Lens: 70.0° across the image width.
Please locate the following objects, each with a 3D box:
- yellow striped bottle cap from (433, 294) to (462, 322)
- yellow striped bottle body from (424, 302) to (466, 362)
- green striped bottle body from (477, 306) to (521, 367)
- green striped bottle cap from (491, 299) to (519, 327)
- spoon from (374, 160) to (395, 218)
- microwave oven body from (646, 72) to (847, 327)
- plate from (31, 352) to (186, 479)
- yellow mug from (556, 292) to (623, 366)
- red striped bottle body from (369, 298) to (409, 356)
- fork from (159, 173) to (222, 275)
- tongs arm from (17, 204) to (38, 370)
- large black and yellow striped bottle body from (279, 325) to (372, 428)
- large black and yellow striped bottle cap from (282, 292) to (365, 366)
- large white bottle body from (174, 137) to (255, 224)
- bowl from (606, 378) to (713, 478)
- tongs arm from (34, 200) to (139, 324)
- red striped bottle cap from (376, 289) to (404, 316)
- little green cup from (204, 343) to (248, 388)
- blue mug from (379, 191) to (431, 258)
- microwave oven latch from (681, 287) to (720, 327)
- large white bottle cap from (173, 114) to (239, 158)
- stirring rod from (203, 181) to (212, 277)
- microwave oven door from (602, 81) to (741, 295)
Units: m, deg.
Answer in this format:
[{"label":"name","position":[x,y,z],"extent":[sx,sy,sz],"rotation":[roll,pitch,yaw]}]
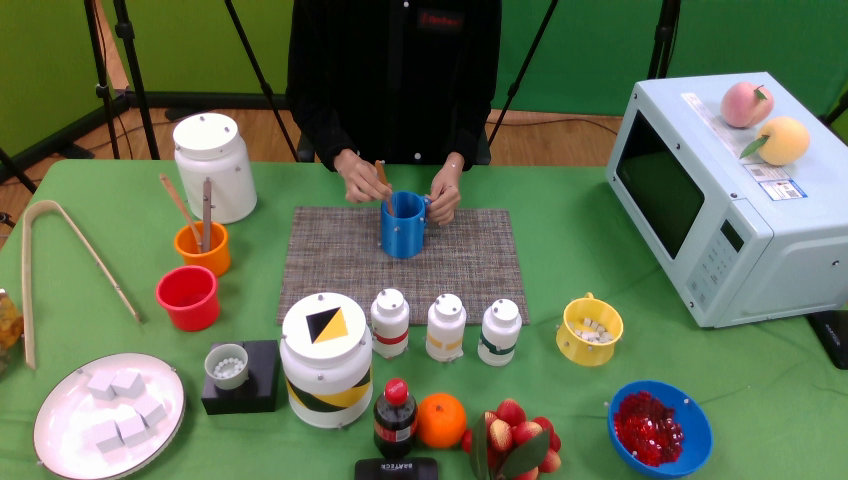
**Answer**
[{"label":"yellow striped bottle cap","position":[0.037,0.107,0.958],"extent":[0.044,0.019,0.044],"rotation":[2,45,-2]},{"label":"yellow striped bottle body","position":[0.035,0.143,0.995],"extent":[0.063,0.121,0.062],"rotation":[3,46,-3]},{"label":"green striped bottle body","position":[0.124,0.151,0.995],"extent":[0.063,0.120,0.063],"rotation":[2,46,-2]},{"label":"green striped bottle cap","position":[0.128,0.115,0.958],"extent":[0.044,0.020,0.044],"rotation":[1,46,-1]},{"label":"spoon","position":[-0.068,-0.069,1.108],"extent":[0.041,0.195,0.021],"rotation":[9,43,23]},{"label":"microwave oven body","position":[0.607,-0.089,1.164],"extent":[0.326,0.261,0.438],"rotation":[-7,46,-10]},{"label":"plate","position":[-0.459,0.262,0.898],"extent":[0.209,0.038,0.208],"rotation":[2,46,-2]},{"label":"yellow mug","position":[0.285,0.145,1.051],"extent":[0.100,0.064,0.130],"rotation":[7,45,3]},{"label":"red striped bottle body","position":[-0.058,0.134,0.997],"extent":[0.063,0.120,0.062],"rotation":[4,47,-4]},{"label":"fork","position":[-0.427,-0.029,1.103],"extent":[0.028,0.018,0.207],"rotation":[-31,99,-30]},{"label":"tongs arm","position":[-0.698,0.069,1.068],"extent":[0.028,0.028,0.385],"rotation":[-20,50,-13]},{"label":"large black and yellow striped bottle body","position":[-0.143,0.181,0.900],"extent":[0.131,0.185,0.130],"rotation":[2,46,-2]},{"label":"large black and yellow striped bottle cap","position":[-0.139,0.121,0.841],"extent":[0.115,0.019,0.114],"rotation":[3,47,-3]},{"label":"large white bottle body","position":[-0.408,-0.136,1.183],"extent":[0.131,0.185,0.130],"rotation":[2,46,-2]},{"label":"bowl","position":[0.340,0.292,0.906],"extent":[0.151,0.077,0.150],"rotation":[2,46,-2]},{"label":"tongs arm","position":[-0.622,0.034,1.105],"extent":[0.051,0.026,0.382],"rotation":[-32,56,-26]},{"label":"red striped bottle cap","position":[-0.055,0.098,0.958],"extent":[0.044,0.018,0.044],"rotation":[0,47,0]},{"label":"little green cup","position":[-0.294,0.190,0.909],"extent":[0.061,0.039,0.061],"rotation":[1,48,0]},{"label":"blue mug","position":[-0.032,-0.037,1.168],"extent":[0.116,0.106,0.082],"rotation":[-31,56,-30]},{"label":"microwave oven latch","position":[0.494,0.119,1.087],"extent":[0.030,0.029,0.078],"rotation":[-6,46,-9]},{"label":"large white bottle cap","position":[-0.403,-0.195,1.122],"extent":[0.115,0.018,0.114],"rotation":[2,47,-2]},{"label":"stirring rod","position":[-0.396,-0.021,1.107],"extent":[0.014,0.006,0.176],"rotation":[-1,89,-1]},{"label":"microwave oven door","position":[0.456,-0.107,1.162],"extent":[0.039,0.245,0.353],"rotation":[-7,47,-11]}]
